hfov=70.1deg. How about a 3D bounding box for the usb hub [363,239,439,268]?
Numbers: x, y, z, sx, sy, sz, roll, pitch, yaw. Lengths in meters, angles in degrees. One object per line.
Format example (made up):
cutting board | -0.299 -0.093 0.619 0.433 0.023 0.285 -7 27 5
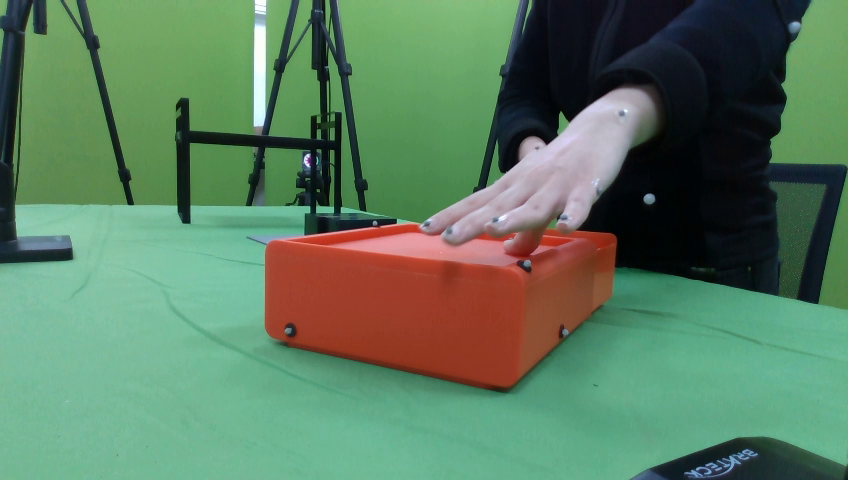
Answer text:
usb hub | -0.029 0.017 0.828 0.049 0.025 0.126 5 7 29

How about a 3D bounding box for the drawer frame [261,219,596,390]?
drawer frame | 0.017 0.036 0.494 0.201 0.082 0.214 6 9 26

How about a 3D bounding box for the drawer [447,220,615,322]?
drawer | 0.061 0.030 0.579 0.194 0.073 0.212 7 10 28
